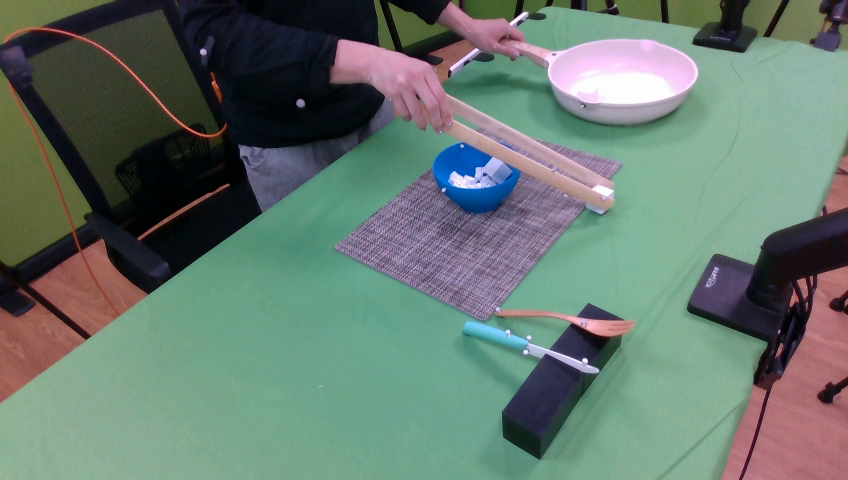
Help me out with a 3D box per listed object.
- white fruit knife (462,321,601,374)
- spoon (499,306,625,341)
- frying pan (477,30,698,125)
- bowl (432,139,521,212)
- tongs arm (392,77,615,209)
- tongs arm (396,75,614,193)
[{"bbox_3d":[0.126,0.132,0.752,0.205,0.027,0.016,12,48,42],"label":"white fruit knife"},{"bbox_3d":[0.169,0.101,0.773,0.042,0.021,0.192,-15,17,-37],"label":"spoon"},{"bbox_3d":[0.321,-0.371,1.290,0.484,0.103,0.308,29,51,24],"label":"frying pan"},{"bbox_3d":[0.091,-0.100,1.022,0.151,0.077,0.150,-4,41,4],"label":"bowl"},{"bbox_3d":[0.129,-0.144,0.932,0.387,0.026,0.050,23,46,-15],"label":"tongs arm"},{"bbox_3d":[0.133,-0.163,0.951,0.389,0.027,0.028,25,49,-12],"label":"tongs arm"}]
